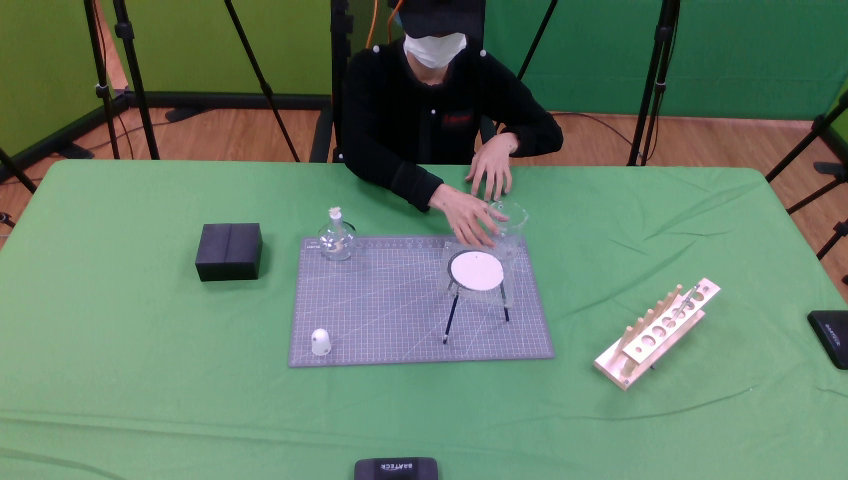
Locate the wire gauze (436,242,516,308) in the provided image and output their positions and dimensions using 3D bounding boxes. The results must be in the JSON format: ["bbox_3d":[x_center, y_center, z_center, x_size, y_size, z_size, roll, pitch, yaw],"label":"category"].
[{"bbox_3d":[0.087,0.051,0.981,0.125,0.011,0.121,10,45,3],"label":"wire gauze"}]

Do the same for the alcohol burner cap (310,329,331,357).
[{"bbox_3d":[-0.173,0.168,1.004,0.034,0.048,0.033,2,46,-2],"label":"alcohol burner cap"}]

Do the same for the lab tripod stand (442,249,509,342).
[{"bbox_3d":[0.081,0.091,1.036,0.148,0.132,0.147,3,44,-3],"label":"lab tripod stand"}]

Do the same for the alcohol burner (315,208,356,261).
[{"bbox_3d":[-0.166,-0.017,1.134,0.078,0.119,0.077,2,48,-2],"label":"alcohol burner"}]

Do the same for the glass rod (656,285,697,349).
[{"bbox_3d":[0.401,0.128,0.971,0.008,0.201,0.008,0,53,1],"label":"glass rod"}]

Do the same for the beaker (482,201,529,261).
[{"bbox_3d":[0.154,-0.015,1.168,0.084,0.101,0.073,-1,46,-5],"label":"beaker"}]

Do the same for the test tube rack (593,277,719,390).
[{"bbox_3d":[0.401,0.148,1.043,0.242,0.085,0.066,-30,55,-29],"label":"test tube rack"}]
